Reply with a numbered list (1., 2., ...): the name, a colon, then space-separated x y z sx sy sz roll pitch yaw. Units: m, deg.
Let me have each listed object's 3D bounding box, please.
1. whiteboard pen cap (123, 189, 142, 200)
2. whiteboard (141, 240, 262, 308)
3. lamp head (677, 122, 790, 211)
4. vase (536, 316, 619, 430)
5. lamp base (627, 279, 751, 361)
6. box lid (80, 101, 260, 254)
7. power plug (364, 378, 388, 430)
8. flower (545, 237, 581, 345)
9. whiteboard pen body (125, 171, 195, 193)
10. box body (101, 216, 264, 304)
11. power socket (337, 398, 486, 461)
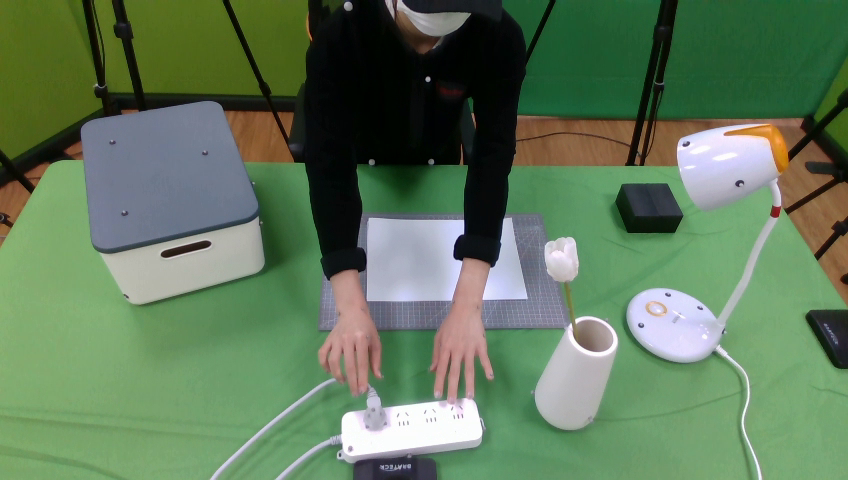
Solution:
1. whiteboard pen cap: -0.591 -0.093 1.231 0.033 0.018 0.018 -14 49 -17
2. whiteboard: -0.464 -0.059 1.137 0.217 0.144 0.303 -19 51 -17
3. lamp head: 0.423 -0.104 0.819 0.122 0.113 0.112 -13 33 40
4. vase: 0.229 0.200 0.901 0.098 0.201 0.097 3 46 -3
5. lamp base: 0.460 0.100 1.027 0.178 0.181 0.160 27 51 17
6. box lid: -0.461 -0.127 1.082 0.264 0.015 0.369 -15 49 -19
7. power plug: -0.071 0.252 0.912 0.035 0.053 0.072 4 40 0
8. flower: 0.213 0.137 0.846 0.038 0.364 0.044 21 54 39
9. whiteboard pen body: -0.553 -0.119 1.270 0.141 0.017 0.017 -18 50 -15
10. box body: -0.465 -0.076 1.137 0.254 0.161 0.361 -16 50 -19
11. power socket: -0.018 0.285 0.914 0.227 0.033 0.071 -4 46 -8
